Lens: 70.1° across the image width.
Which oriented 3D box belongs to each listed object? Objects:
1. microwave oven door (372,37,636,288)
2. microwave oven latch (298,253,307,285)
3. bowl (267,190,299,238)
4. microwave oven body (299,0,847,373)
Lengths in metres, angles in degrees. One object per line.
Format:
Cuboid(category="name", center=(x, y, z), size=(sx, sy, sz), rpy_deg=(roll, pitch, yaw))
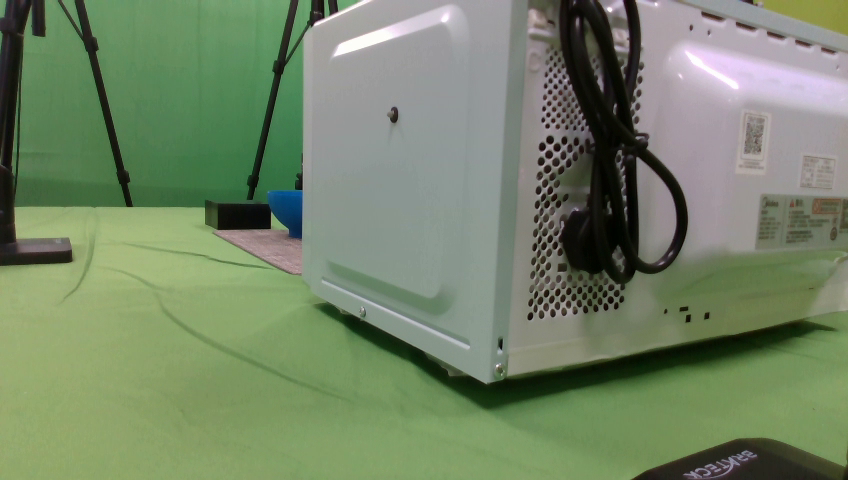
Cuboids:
Cuboid(category="microwave oven door", center=(0.110, -0.080, 0.686), size=(0.358, 0.243, 0.039), rpy_deg=(-2, 9, -33))
Cuboid(category="microwave oven latch", center=(-0.081, 0.027, 0.583), size=(0.079, 0.029, 0.030), rpy_deg=(-2, 7, -33))
Cuboid(category="bowl", center=(-0.202, -0.046, 1.070), size=(0.151, 0.077, 0.151), rpy_deg=(3, 7, 0))
Cuboid(category="microwave oven body", center=(0.151, -0.055, 0.543), size=(0.444, 0.260, 0.324), rpy_deg=(-2, 7, -33))
